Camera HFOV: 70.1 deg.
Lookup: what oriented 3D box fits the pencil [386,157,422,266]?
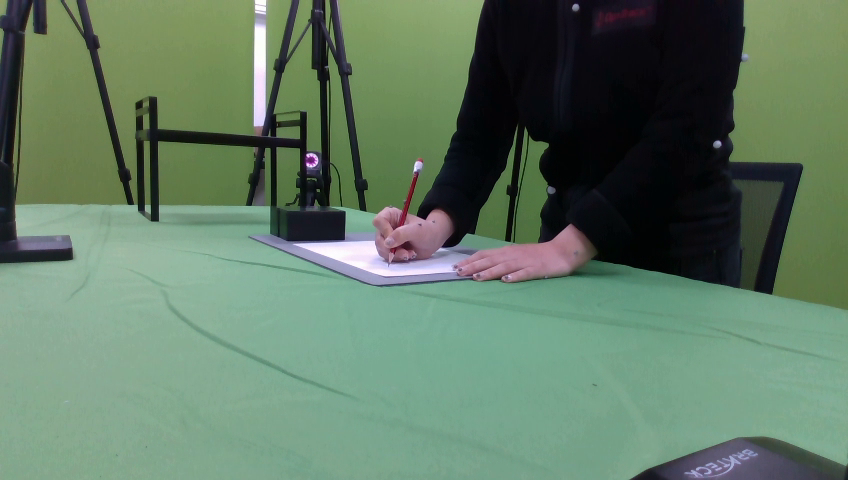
[{"bbox_3d":[-0.028,-0.044,0.837,0.012,0.194,0.012,10,-35,8],"label":"pencil"}]
